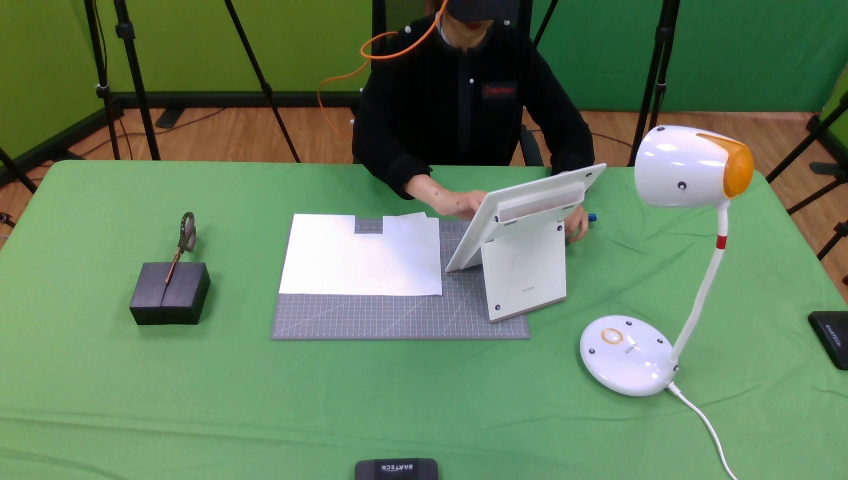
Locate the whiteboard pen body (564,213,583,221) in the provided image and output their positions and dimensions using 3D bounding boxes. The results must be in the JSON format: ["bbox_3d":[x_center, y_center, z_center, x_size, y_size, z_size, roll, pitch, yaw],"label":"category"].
[{"bbox_3d":[0.282,-0.047,1.258,0.141,0.017,0.017,-1,46,-3],"label":"whiteboard pen body"}]

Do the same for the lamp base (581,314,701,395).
[{"bbox_3d":[0.361,0.145,0.973,0.178,0.181,0.160,34,53,23],"label":"lamp base"}]

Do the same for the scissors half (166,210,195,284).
[{"bbox_3d":[-0.440,0.010,1.094,0.013,0.040,0.174,8,49,-9],"label":"scissors half"}]

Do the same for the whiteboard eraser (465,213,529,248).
[{"bbox_3d":[0.135,-0.016,1.120,0.113,0.055,0.041,-16,79,-13],"label":"whiteboard eraser"}]

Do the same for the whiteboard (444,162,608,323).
[{"bbox_3d":[0.186,0.025,1.029,0.217,0.306,0.143,-14,68,-18],"label":"whiteboard"}]

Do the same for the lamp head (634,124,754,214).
[{"bbox_3d":[0.351,-0.089,0.775,0.112,0.113,0.122,-30,30,-28],"label":"lamp head"}]

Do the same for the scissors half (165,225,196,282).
[{"bbox_3d":[-0.444,0.026,1.107,0.013,0.040,0.174,4,30,-5],"label":"scissors half"}]

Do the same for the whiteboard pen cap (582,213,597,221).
[{"bbox_3d":[0.342,-0.047,1.260,0.033,0.018,0.018,-3,46,-3],"label":"whiteboard pen cap"}]
